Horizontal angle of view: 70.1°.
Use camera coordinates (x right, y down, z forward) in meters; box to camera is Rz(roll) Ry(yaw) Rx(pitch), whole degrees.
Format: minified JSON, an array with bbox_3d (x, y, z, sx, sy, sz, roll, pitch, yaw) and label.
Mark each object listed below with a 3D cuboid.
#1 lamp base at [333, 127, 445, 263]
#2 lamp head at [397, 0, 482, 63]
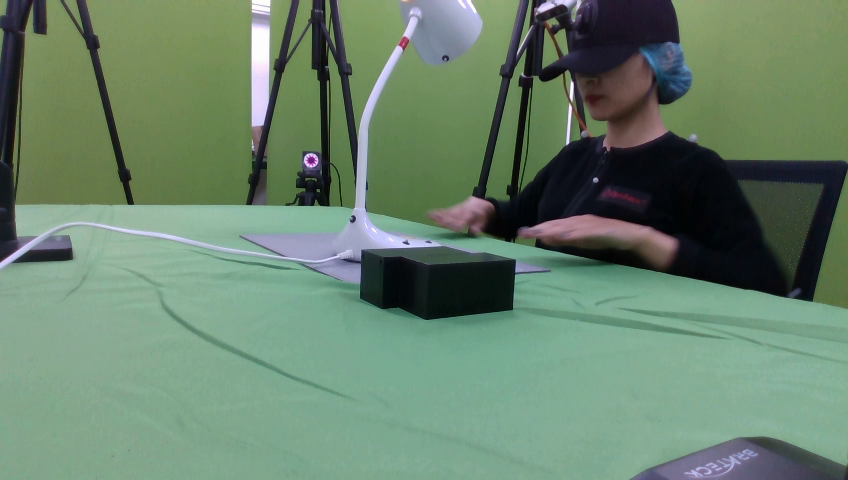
[{"bbox_3d":[-0.054,-0.064,0.842,0.160,0.180,0.180,6,11,29],"label":"lamp base"},{"bbox_3d":[0.011,-0.341,0.900,0.112,0.112,0.123,7,-21,37],"label":"lamp head"}]
